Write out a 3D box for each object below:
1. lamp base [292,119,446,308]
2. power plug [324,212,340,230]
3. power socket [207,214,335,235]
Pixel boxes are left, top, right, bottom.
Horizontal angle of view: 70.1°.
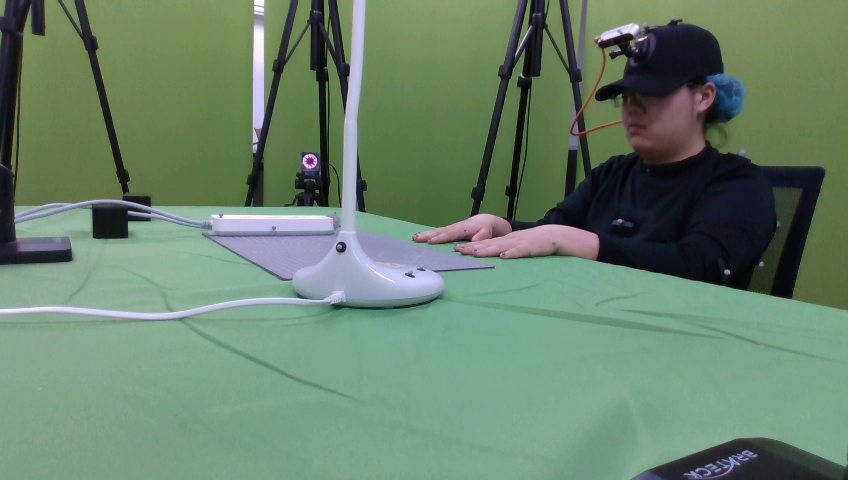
[{"bbox_3d":[-0.056,-0.030,0.616,0.160,0.180,0.179,4,10,8],"label":"lamp base"},{"bbox_3d":[-0.200,-0.027,1.194,0.072,0.035,0.052,-35,13,-11],"label":"power plug"},{"bbox_3d":[-0.271,-0.029,1.086,0.228,0.032,0.072,-1,7,-28],"label":"power socket"}]
